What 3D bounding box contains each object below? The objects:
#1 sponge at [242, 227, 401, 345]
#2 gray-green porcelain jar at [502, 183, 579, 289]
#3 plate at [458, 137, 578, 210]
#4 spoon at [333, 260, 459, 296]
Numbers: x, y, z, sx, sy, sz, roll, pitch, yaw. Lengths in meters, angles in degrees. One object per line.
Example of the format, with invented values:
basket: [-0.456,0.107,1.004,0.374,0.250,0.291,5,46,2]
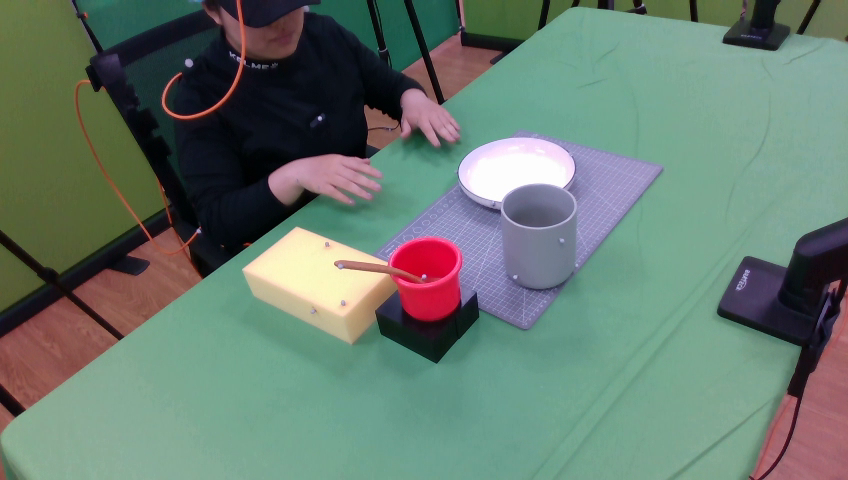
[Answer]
sponge: [-0.154,0.063,0.907,0.205,0.061,0.118,19,48,29]
gray-green porcelain jar: [0.166,-0.001,0.866,0.106,0.127,0.105,-5,40,5]
plate: [0.166,-0.113,1.068,0.207,0.039,0.206,-5,40,5]
spoon: [-0.031,0.045,0.762,0.195,0.021,0.041,19,20,-39]
